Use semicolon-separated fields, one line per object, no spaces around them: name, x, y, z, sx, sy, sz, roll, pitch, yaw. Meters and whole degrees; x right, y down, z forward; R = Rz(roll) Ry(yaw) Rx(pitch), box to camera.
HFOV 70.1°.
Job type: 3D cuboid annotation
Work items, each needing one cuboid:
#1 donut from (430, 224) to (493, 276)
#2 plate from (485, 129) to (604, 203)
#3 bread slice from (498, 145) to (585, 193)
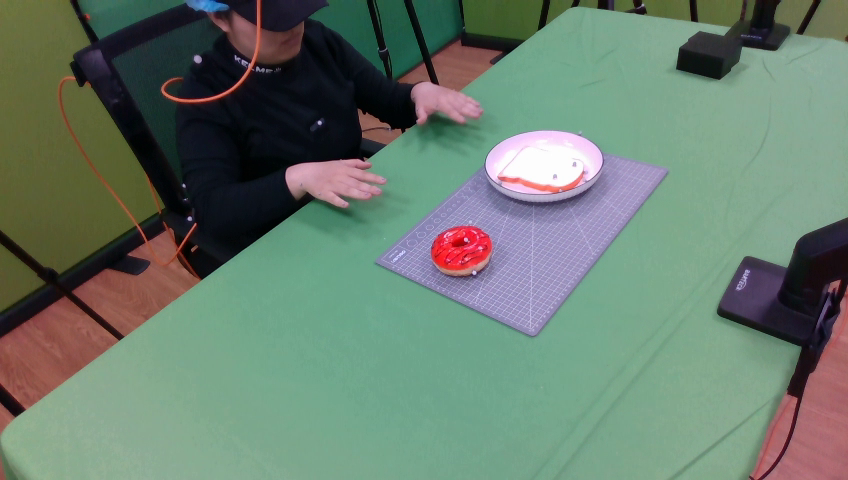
donut;0.057;0.014;0.934;0.099;0.048;0.098;-7;40;6
plate;0.213;-0.129;1.079;0.209;0.038;0.208;-5;40;5
bread slice;0.215;-0.125;1.076;0.133;0.018;0.107;16;48;28
